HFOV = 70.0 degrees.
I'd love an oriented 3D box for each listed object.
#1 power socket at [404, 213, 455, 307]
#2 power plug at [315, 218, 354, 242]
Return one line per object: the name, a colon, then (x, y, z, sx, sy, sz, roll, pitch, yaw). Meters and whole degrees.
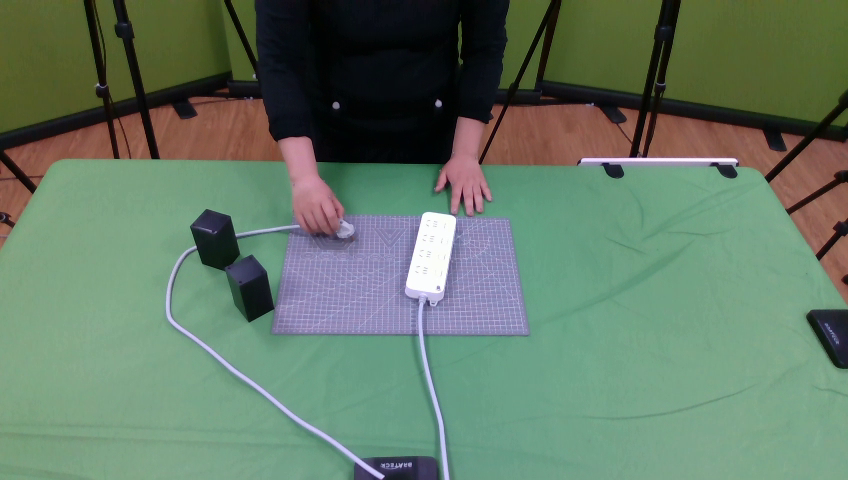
power socket: (0.013, 0.029, 1.159, 0.072, 0.033, 0.225, 8, 46, 5)
power plug: (-0.171, -0.022, 1.189, 0.072, 0.053, 0.035, 14, 48, 30)
